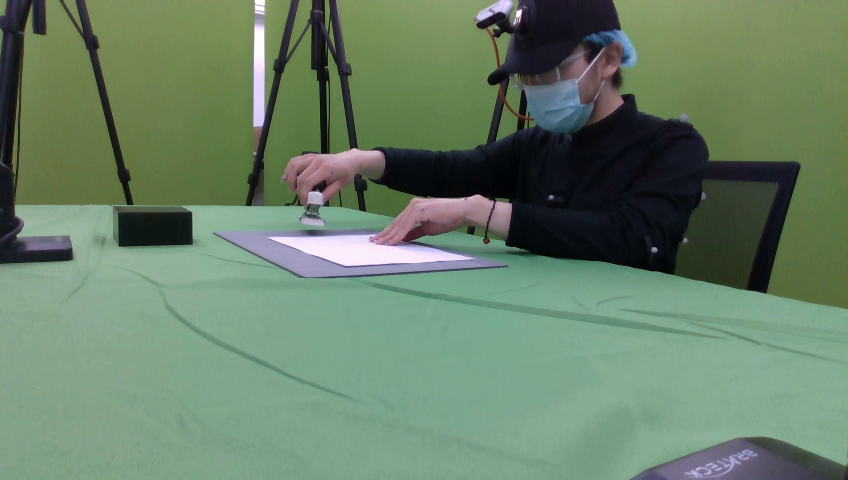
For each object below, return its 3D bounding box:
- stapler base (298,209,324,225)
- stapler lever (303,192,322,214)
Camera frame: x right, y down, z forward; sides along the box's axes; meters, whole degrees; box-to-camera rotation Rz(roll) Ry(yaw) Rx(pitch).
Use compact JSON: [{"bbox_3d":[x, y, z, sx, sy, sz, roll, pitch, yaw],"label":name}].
[{"bbox_3d":[-0.209,-0.044,1.119,0.041,0.024,0.130,7,4,-15],"label":"stapler base"},{"bbox_3d":[-0.207,-0.069,1.118,0.027,0.040,0.117,7,3,-15],"label":"stapler lever"}]
